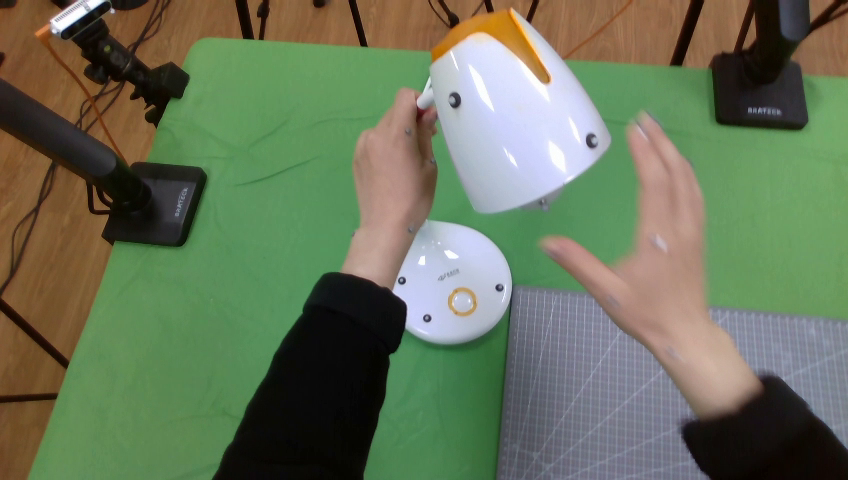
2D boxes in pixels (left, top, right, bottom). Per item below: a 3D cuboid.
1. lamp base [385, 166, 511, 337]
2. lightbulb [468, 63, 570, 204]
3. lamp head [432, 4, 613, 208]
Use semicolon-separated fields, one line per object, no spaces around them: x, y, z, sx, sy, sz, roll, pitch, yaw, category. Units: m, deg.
0.018;0.005;0.704;0.160;0.182;0.177;-33;65;-11;lamp base
0.064;-0.076;0.432;0.059;0.059;0.108;-35;109;-11;lightbulb
0.056;-0.100;0.432;0.112;0.112;0.123;-36;103;-12;lamp head
